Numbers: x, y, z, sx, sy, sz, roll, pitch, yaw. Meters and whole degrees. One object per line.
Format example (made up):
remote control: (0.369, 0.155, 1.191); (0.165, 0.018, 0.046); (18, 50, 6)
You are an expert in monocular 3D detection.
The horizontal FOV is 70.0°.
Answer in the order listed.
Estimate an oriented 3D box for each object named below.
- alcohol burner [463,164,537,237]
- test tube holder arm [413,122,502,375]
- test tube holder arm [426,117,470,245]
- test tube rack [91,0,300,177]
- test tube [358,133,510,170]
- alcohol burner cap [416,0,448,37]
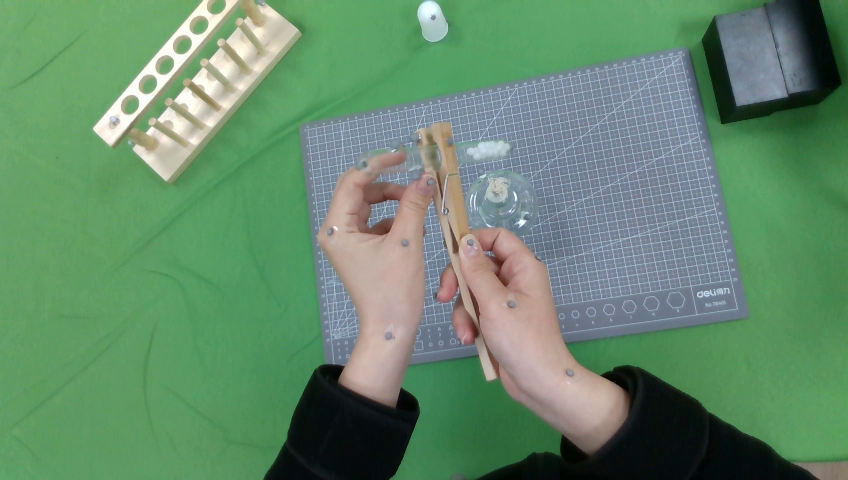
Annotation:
alcohol burner: (0.076, -0.044, 0.616); (0.078, 0.120, 0.077); (-2, 79, 11)
test tube holder arm: (0.024, 0.005, 0.416); (0.013, 0.015, 0.178); (-16, 89, 45)
test tube holder arm: (0.017, -0.040, 0.412); (0.010, 0.015, 0.088); (-6, 96, 44)
test tube rack: (-0.260, -0.194, 0.706); (0.066, 0.085, 0.242); (41, 90, 12)
test tube: (0.014, -0.063, 0.419); (0.017, 0.151, 0.017); (12, 108, 40)
alcohol burner cap: (0.008, -0.261, 0.695); (0.034, 0.048, 0.033); (-3, 76, 11)
